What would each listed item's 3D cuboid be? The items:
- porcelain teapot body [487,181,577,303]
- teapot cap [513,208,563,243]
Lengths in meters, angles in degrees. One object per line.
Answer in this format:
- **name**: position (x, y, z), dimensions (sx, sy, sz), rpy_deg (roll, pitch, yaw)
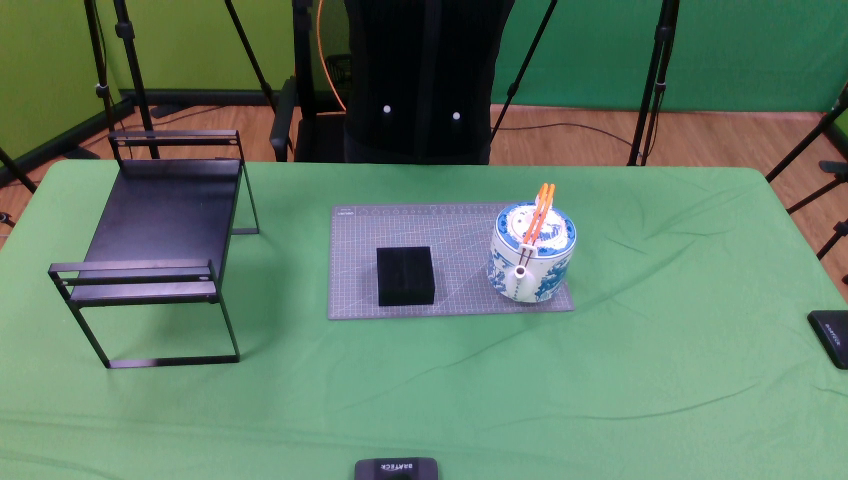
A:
- **porcelain teapot body**: position (0.185, 0.018, 1.048), dimensions (0.145, 0.226, 0.204), rpy_deg (15, 48, 10)
- **teapot cap**: position (0.196, -0.029, 1.039), dimensions (0.085, 0.044, 0.084), rpy_deg (3, 49, -3)
